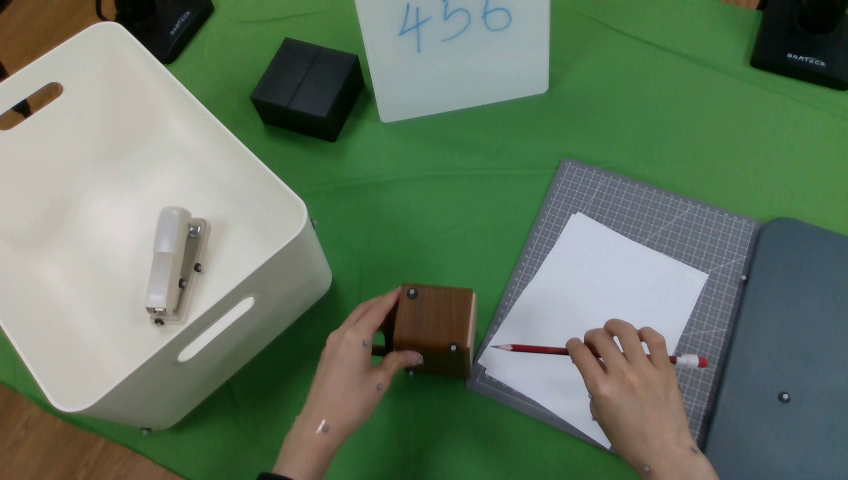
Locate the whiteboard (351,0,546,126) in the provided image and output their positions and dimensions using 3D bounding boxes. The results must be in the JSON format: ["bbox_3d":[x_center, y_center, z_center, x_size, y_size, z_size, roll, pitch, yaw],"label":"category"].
[{"bbox_3d":[0.020,-0.319,0.705,0.217,0.308,0.142,-10,45,0],"label":"whiteboard"}]

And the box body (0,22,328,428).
[{"bbox_3d":[-0.304,-0.017,0.628,0.254,0.161,0.361,-43,69,-15],"label":"box body"}]

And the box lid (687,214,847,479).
[{"bbox_3d":[0.415,0.160,0.577,0.262,0.015,0.370,21,68,12],"label":"box lid"}]

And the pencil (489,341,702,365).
[{"bbox_3d":[0.155,0.101,0.547,0.194,0.012,0.012,4,64,-1],"label":"pencil"}]

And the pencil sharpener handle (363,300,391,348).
[{"bbox_3d":[-0.045,0.082,0.579,0.030,0.068,0.035,5,49,7],"label":"pencil sharpener handle"}]

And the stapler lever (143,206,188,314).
[{"bbox_3d":[-0.278,0.019,0.651,0.027,0.040,0.117,1,67,7],"label":"stapler lever"}]

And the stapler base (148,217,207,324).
[{"bbox_3d":[-0.277,0.029,0.675,0.041,0.024,0.129,1,66,7],"label":"stapler base"}]

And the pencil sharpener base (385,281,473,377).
[{"bbox_3d":[0.007,0.088,0.587,0.076,0.108,0.061,5,65,7],"label":"pencil sharpener base"}]
